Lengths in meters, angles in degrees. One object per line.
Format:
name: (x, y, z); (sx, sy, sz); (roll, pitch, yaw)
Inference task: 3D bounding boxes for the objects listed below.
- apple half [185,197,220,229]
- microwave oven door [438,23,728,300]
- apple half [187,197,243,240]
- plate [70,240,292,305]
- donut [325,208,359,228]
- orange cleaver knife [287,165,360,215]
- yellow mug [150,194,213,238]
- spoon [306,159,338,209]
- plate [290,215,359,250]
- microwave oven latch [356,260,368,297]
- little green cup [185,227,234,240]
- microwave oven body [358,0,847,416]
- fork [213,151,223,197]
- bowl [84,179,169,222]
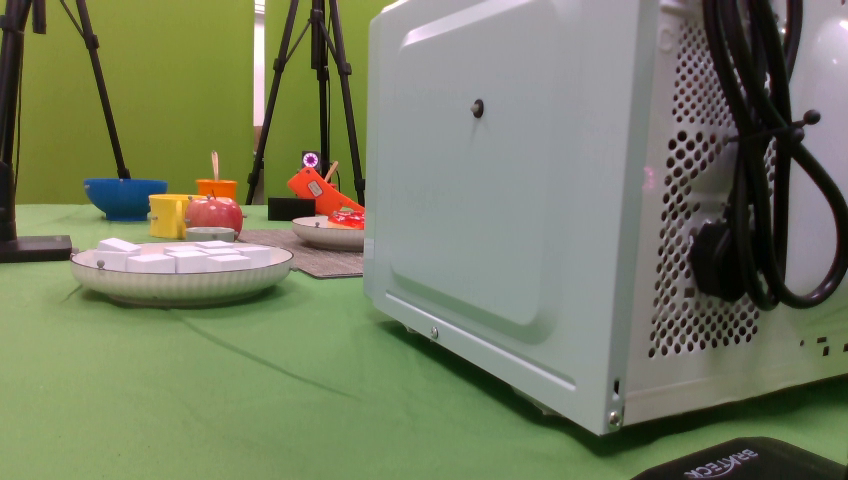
apple half: (-0.338, -0.031, 0.927); (0.032, 0.081, 0.081); (12, 12, 31)
microwave oven door: (0.181, -0.072, 0.621); (0.358, 0.243, 0.039); (-2, 8, -29)
apple half: (-0.305, -0.026, 0.907); (0.053, 0.074, 0.081); (12, 8, 32)
plate: (-0.242, 0.031, 0.618); (0.208, 0.039, 0.207); (2, 8, 0)
donut: (-0.110, -0.025, 0.974); (0.099, 0.048, 0.099); (5, 8, 0)
orange cleaver knife: (-0.211, -0.092, 1.382); (0.212, 0.077, 0.012); (34, 1, -15)
yellow mug: (-0.401, -0.040, 1.003); (0.100, 0.064, 0.130); (-1, 9, -20)
spoon: (-0.257, -0.147, 1.567); (0.041, 0.022, 0.193); (2, 50, 19)
plate: (-0.110, -0.013, 0.973); (0.209, 0.038, 0.209); (3, 8, 0)
microwave oven latch: (-0.019, 0.033, 0.531); (0.079, 0.029, 0.030); (-1, 7, -27)
little green cup: (-0.285, 0.005, 0.805); (0.061, 0.038, 0.061); (2, 8, 0)
microwave oven body: (0.211, -0.047, 0.474); (0.444, 0.260, 0.324); (-1, 8, -28)
fork: (-0.494, -0.143, 1.442); (0.028, 0.018, 0.206); (-2, 52, -20)
bowl: (-0.584, -0.078, 1.194); (0.151, 0.077, 0.151); (3, 8, 0)
